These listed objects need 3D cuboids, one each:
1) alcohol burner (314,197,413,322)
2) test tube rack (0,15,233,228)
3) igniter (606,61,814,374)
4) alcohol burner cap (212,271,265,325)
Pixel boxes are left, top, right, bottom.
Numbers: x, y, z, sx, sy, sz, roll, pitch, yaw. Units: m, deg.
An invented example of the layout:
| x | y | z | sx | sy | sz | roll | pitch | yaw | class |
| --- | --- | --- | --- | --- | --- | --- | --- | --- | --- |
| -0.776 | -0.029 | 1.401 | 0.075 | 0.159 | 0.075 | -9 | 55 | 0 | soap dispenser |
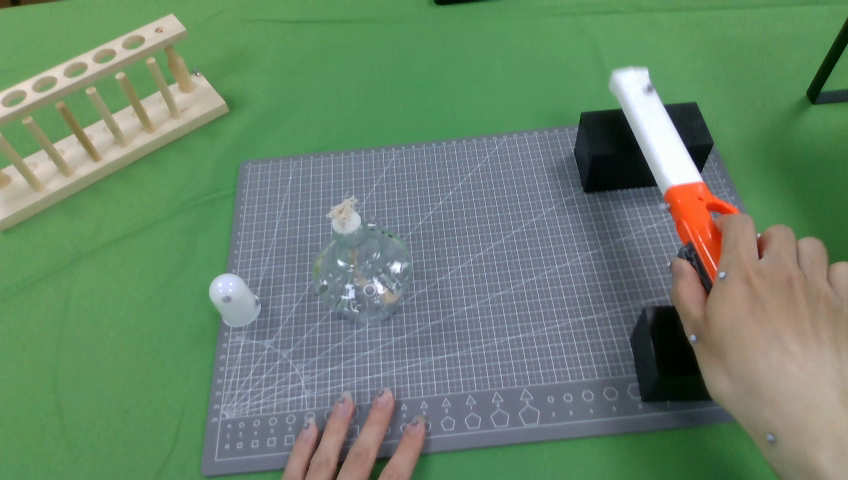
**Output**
| x | y | z | sx | sy | sz | roll | pitch | yaw | class |
| --- | --- | --- | --- | --- | --- | --- | --- | --- | --- |
| -0.048 | 0.011 | 0.456 | 0.078 | 0.120 | 0.077 | -3 | 53 | 4 | alcohol burner |
| -0.321 | -0.118 | 0.588 | 0.242 | 0.086 | 0.066 | -33 | 59 | -17 | test tube rack |
| 0.195 | -0.031 | 0.440 | 0.057 | 0.025 | 0.273 | -9 | 58 | -7 | igniter |
| -0.150 | 0.044 | 0.486 | 0.034 | 0.048 | 0.033 | -2 | 57 | 4 | alcohol burner cap |
